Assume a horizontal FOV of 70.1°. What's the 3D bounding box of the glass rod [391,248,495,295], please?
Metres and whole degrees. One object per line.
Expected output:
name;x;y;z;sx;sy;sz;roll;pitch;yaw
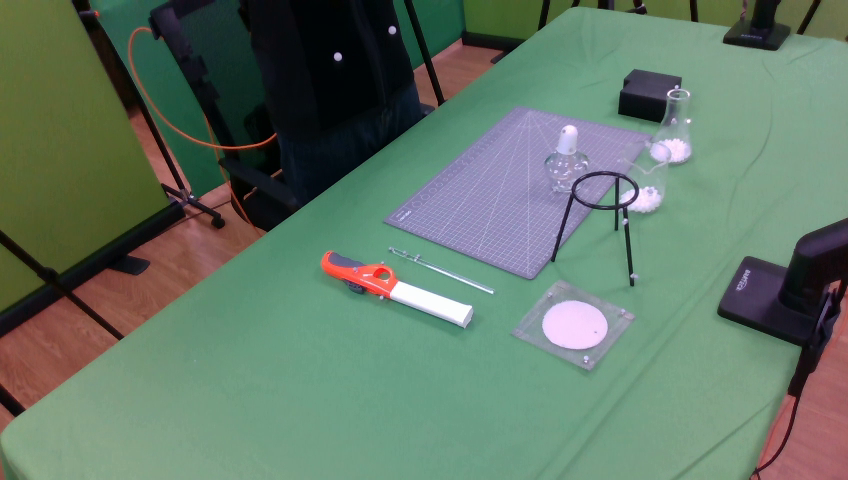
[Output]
glass rod;0.025;0.046;0.936;0.198;0.008;0.008;22;50;32

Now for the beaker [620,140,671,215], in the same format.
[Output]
beaker;0.352;-0.096;0.971;0.074;0.101;0.084;1;42;13

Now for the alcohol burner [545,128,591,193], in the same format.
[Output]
alcohol burner;0.245;-0.141;1.028;0.078;0.119;0.077;-5;42;5

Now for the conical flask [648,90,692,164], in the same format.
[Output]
conical flask;0.437;-0.199;1.057;0.075;0.122;0.075;-5;40;5

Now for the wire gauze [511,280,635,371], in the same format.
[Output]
wire gauze;0.203;0.114;0.822;0.120;0.011;0.125;25;52;35

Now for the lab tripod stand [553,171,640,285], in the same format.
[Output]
lab tripod stand;0.260;-0.025;0.877;0.148;0.132;0.147;-6;38;5

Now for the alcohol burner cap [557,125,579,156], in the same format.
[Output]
alcohol burner cap;0.241;-0.167;1.004;0.034;0.048;0.033;0;39;1

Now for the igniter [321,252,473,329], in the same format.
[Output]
igniter;-0.051;0.071;0.906;0.274;0.025;0.057;18;58;29
